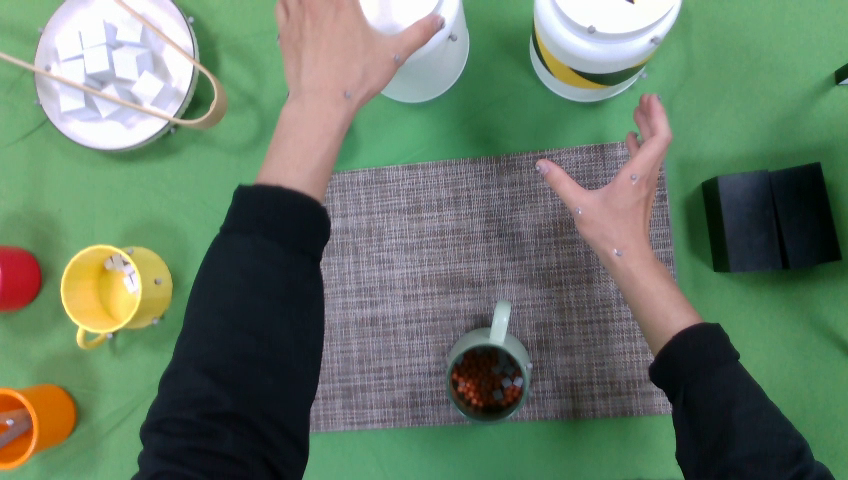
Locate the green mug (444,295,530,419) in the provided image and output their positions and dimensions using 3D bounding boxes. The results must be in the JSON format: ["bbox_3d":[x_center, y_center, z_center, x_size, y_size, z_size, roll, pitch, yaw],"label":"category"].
[{"bbox_3d":[0.069,0.119,0.632,0.092,0.105,0.125,12,89,8],"label":"green mug"}]

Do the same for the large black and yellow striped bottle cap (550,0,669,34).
[{"bbox_3d":[0.158,-0.232,0.508,0.115,0.019,0.115,0,89,5],"label":"large black and yellow striped bottle cap"}]

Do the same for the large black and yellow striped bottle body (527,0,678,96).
[{"bbox_3d":[0.170,-0.227,0.591,0.130,0.184,0.130,0,88,8],"label":"large black and yellow striped bottle body"}]

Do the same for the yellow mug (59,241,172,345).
[{"bbox_3d":[-0.365,0.065,0.707,0.100,0.064,0.131,28,93,6],"label":"yellow mug"}]

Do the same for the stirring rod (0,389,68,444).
[{"bbox_3d":[-0.488,0.230,0.681,0.014,0.006,0.176,46,52,5],"label":"stirring rod"}]

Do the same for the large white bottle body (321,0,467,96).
[{"bbox_3d":[-0.027,-0.233,0.613,0.130,0.185,0.130,0,88,8],"label":"large white bottle body"}]

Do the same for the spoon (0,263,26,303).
[{"bbox_3d":[-0.520,0.000,0.686,0.041,0.021,0.196,-9,132,6],"label":"spoon"}]

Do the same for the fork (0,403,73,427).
[{"bbox_3d":[-0.513,0.195,0.679,0.209,0.018,0.028,14,86,-36],"label":"fork"}]

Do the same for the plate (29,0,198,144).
[{"bbox_3d":[-0.366,-0.216,0.727,0.207,0.039,0.207,0,89,7],"label":"plate"}]

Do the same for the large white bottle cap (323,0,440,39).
[{"bbox_3d":[-0.038,-0.235,0.530,0.114,0.018,0.114,0,89,7],"label":"large white bottle cap"}]

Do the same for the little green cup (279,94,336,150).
[{"bbox_3d":[-0.131,-0.132,0.698,0.061,0.038,0.061,0,89,6],"label":"little green cup"}]

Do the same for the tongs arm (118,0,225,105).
[{"bbox_3d":[-0.371,-0.281,0.699,0.386,0.028,0.028,38,87,8],"label":"tongs arm"}]

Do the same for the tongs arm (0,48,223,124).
[{"bbox_3d":[-0.411,-0.208,0.701,0.384,0.026,0.050,24,88,9],"label":"tongs arm"}]
